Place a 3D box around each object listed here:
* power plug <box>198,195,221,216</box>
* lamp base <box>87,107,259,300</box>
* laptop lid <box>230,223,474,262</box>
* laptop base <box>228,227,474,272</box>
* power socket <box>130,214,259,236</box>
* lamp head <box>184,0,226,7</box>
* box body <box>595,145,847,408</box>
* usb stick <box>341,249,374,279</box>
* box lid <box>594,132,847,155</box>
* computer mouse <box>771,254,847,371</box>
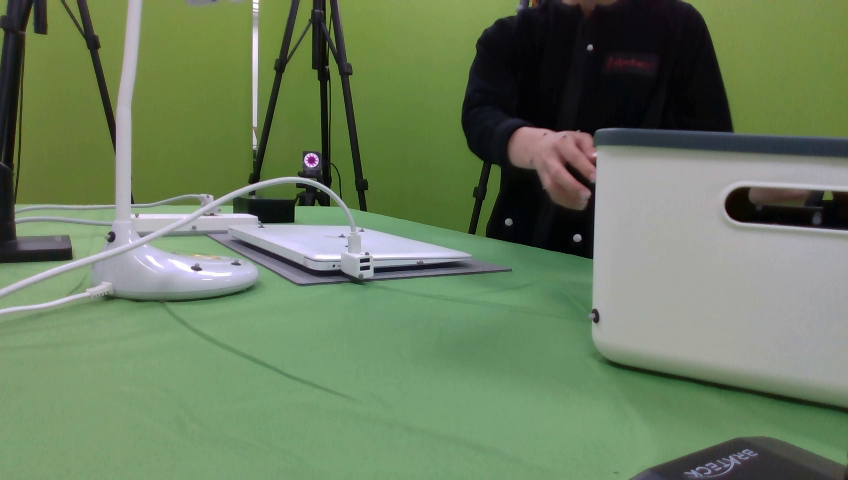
[{"bbox_3d":[-0.386,-0.055,1.088,0.035,0.052,0.072,-2,7,-24],"label":"power plug"},{"bbox_3d":[-0.254,-0.039,0.603,0.160,0.180,0.179,5,10,18],"label":"lamp base"},{"bbox_3d":[-0.121,0.000,0.888,0.243,0.013,0.355,1,7,-33],"label":"laptop lid"},{"bbox_3d":[-0.124,0.011,0.889,0.237,0.023,0.352,2,6,-35],"label":"laptop base"},{"bbox_3d":[-0.397,-0.028,1.048,0.228,0.032,0.072,-3,7,-35],"label":"power socket"},{"bbox_3d":[-0.229,-0.320,0.627,0.112,0.112,0.123,6,-35,26],"label":"lamp head"},{"bbox_3d":[0.309,0.006,0.509,0.253,0.160,0.366,6,8,29],"label":"box body"},{"bbox_3d":[-0.078,0.026,0.686,0.021,0.027,0.059,-8,8,-30],"label":"usb stick"},{"bbox_3d":[0.310,-0.066,0.499,0.262,0.015,0.373,7,8,29],"label":"box lid"},{"bbox_3d":[0.345,0.057,0.519,0.063,0.041,0.117,12,47,4],"label":"computer mouse"}]
